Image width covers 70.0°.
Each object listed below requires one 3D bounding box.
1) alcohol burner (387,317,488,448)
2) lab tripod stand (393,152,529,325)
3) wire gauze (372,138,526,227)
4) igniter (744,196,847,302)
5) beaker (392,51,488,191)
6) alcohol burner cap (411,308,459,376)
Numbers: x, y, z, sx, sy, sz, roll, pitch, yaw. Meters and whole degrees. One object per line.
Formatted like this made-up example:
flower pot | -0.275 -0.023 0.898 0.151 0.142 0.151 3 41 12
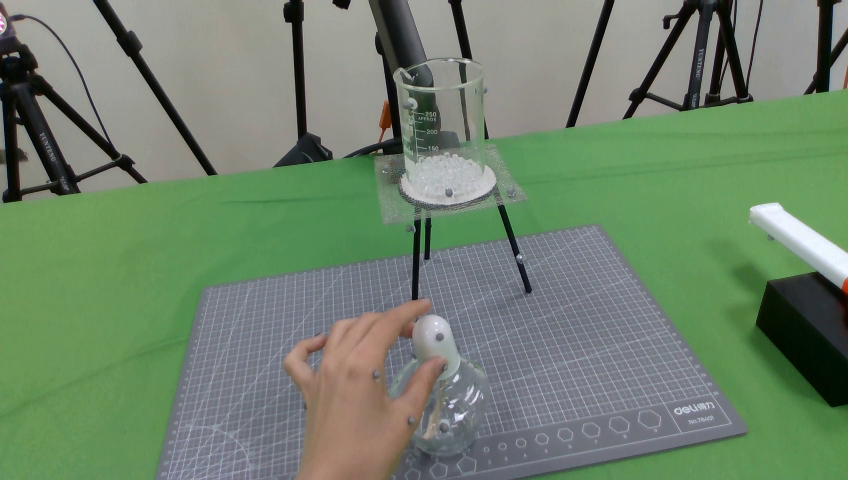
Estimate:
alcohol burner | 0.009 0.098 0.450 0.078 0.120 0.077 -3 37 3
lab tripod stand | 0.027 -0.008 0.579 0.148 0.132 0.147 -3 34 2
wire gauze | 0.017 -0.059 0.539 0.121 0.011 0.123 -9 37 -4
igniter | 0.355 0.035 0.487 0.057 0.025 0.273 -10 32 -5
beaker | 0.013 -0.099 0.511 0.074 0.101 0.083 -30 42 -32
alcohol burner cap | 0.007 0.069 0.429 0.034 0.048 0.033 -6 39 5
